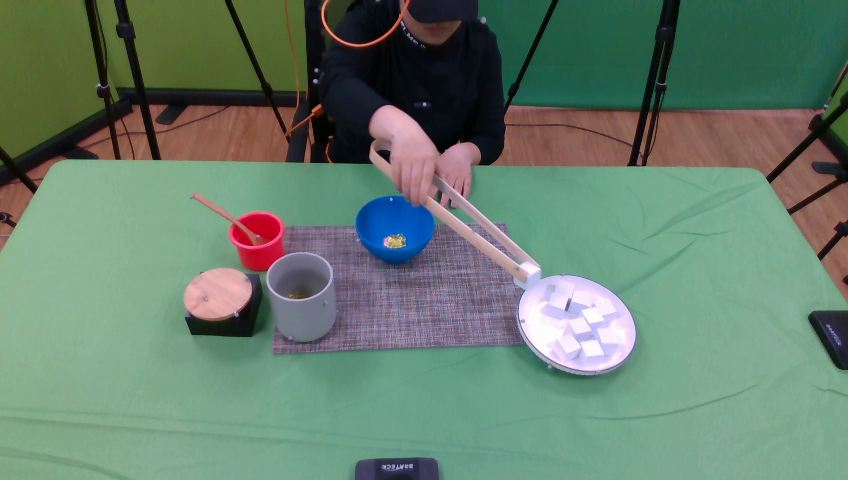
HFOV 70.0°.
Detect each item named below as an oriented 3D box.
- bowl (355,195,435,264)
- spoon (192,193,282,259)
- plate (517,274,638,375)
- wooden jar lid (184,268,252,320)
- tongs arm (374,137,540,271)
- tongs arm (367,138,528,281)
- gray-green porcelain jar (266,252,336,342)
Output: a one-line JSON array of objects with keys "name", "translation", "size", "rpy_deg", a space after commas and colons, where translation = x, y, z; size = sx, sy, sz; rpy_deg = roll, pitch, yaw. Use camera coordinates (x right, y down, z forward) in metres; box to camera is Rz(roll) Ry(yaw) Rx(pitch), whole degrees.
[{"name": "bowl", "translation": [-0.056, -0.008, 1.158], "size": [0.151, 0.077, 0.150], "rpy_deg": [2, 46, -2]}, {"name": "spoon", "translation": [-0.342, -0.027, 1.115], "size": [0.194, 0.021, 0.041], "rpy_deg": [43, 41, -24]}, {"name": "plate", "translation": [0.264, 0.149, 1.060], "size": [0.209, 0.038, 0.208], "rpy_deg": [3, 46, -3]}, {"name": "wooden jar lid", "translation": [-0.343, 0.092, 1.015], "size": [0.108, 0.021, 0.107], "rpy_deg": [3, 46, -3]}, {"name": "tongs arm", "translation": [0.050, -0.071, 1.061], "size": [0.028, 0.028, 0.385], "rpy_deg": [-34, 63, -31]}, {"name": "tongs arm", "translation": [0.033, -0.061, 1.047], "size": [0.383, 0.026, 0.051], "rpy_deg": [37, 51, 20]}, {"name": "gray-green porcelain jar", "translation": [-0.202, 0.100, 1.009], "size": [0.106, 0.127, 0.105], "rpy_deg": [2, 46, -2]}]
